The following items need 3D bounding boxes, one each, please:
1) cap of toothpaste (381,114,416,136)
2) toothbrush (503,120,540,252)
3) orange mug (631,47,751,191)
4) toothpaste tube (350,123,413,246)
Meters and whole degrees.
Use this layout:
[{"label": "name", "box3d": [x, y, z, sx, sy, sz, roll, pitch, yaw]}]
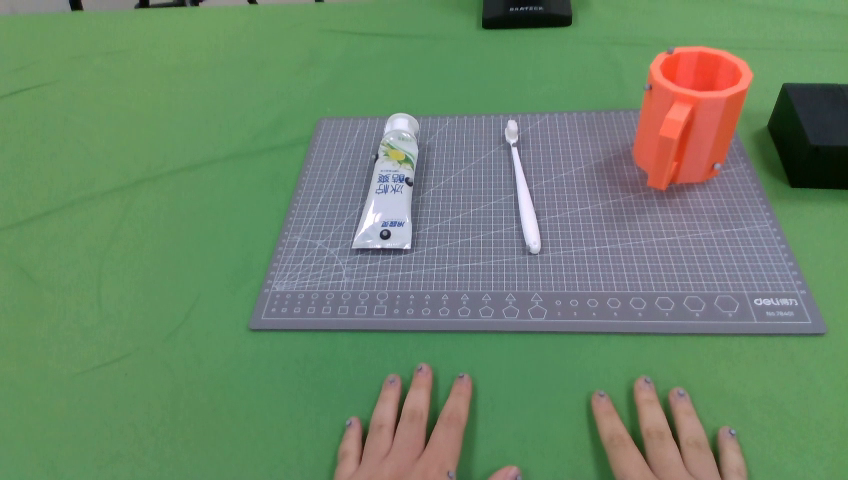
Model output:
[{"label": "cap of toothpaste", "box3d": [-0.027, -0.118, 0.639, 0.037, 0.038, 0.011, 3, 53, 8]}, {"label": "toothbrush", "box3d": [0.094, -0.058, 0.585, 0.014, 0.017, 0.180, 5, 47, -8]}, {"label": "orange mug", "box3d": [0.238, -0.107, 0.560, 0.083, 0.102, 0.126, 22, 48, 25]}, {"label": "toothpaste tube", "box3d": [-0.035, -0.058, 0.592, 0.055, 0.035, 0.163, -3, 50, 9]}]
